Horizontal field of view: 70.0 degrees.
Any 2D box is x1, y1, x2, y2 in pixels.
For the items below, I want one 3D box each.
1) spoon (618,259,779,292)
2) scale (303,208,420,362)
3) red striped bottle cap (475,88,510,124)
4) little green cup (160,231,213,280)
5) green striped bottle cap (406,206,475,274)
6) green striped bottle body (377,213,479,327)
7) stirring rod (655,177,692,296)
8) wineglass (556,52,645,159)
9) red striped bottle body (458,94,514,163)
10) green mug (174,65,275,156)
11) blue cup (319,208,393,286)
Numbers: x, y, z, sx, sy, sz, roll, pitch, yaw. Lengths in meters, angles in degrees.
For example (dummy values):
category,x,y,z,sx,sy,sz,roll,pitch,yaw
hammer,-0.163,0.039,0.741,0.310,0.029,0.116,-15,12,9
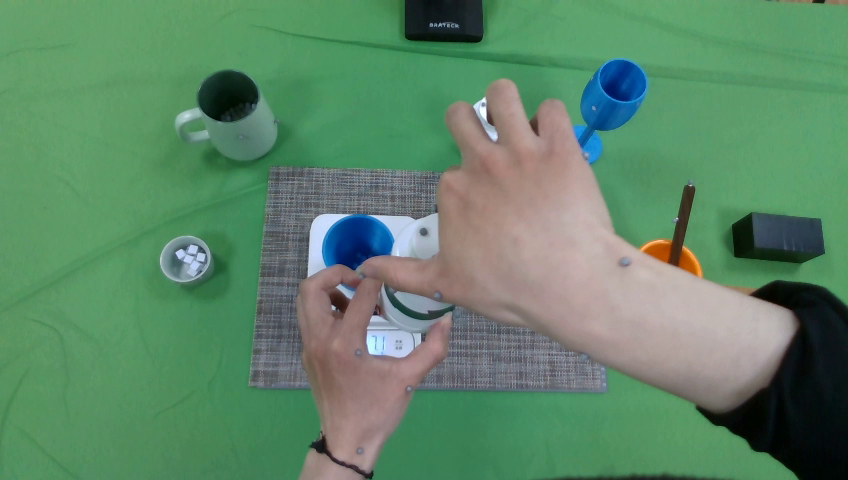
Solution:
category,x,y,z,sx,sy,sz,roll,pitch,yaw
spoon,0.338,0.051,0.764,0.022,0.192,0.041,24,76,-42
scale,-0.080,0.056,0.789,0.149,0.032,0.199,1,74,-4
red striped bottle cap,0.087,-0.171,0.770,0.044,0.018,0.044,1,71,-3
little green cup,-0.303,0.023,0.782,0.061,0.039,0.061,2,73,-5
green striped bottle cap,0.011,0.000,0.403,0.044,0.020,0.044,4,69,-11
green striped bottle body,0.002,0.021,0.451,0.063,0.120,0.062,4,67,-9
stirring rod,0.320,0.000,0.778,0.014,0.177,0.006,6,32,11
wineglass,0.231,-0.174,0.809,0.074,0.173,0.073,1,73,-3
red striped bottle body,0.084,-0.156,0.821,0.063,0.120,0.062,1,73,-4
green mug,-0.267,-0.165,0.806,0.125,0.105,0.092,-20,76,-9
blue cup,-0.080,0.017,0.732,0.093,0.100,0.092,2,75,-6
